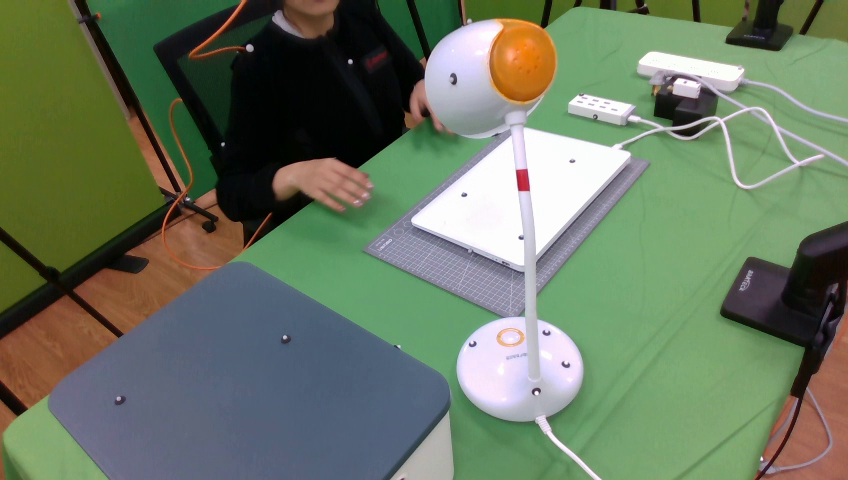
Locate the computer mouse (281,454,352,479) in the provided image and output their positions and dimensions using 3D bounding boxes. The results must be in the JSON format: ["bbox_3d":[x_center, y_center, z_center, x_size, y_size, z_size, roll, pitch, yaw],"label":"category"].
[{"bbox_3d":[-0.110,0.279,0.656,0.116,0.041,0.063,20,51,36],"label":"computer mouse"}]

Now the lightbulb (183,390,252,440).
[{"bbox_3d":[-0.262,0.217,0.753,0.107,0.060,0.059,-10,35,32],"label":"lightbulb"}]

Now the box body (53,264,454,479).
[{"bbox_3d":[-0.173,0.212,0.659,0.361,0.161,0.255,23,50,33],"label":"box body"}]

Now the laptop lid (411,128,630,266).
[{"bbox_3d":[0.172,-0.093,1.049,0.239,0.013,0.358,23,49,36],"label":"laptop lid"}]

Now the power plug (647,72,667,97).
[{"bbox_3d":[0.494,-0.320,1.260,0.073,0.052,0.035,1,19,-41],"label":"power plug"}]

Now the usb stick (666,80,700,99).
[{"bbox_3d":[0.492,-0.288,1.152,0.058,0.027,0.021,20,50,34],"label":"usb stick"}]

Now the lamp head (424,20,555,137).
[{"bbox_3d":[0.069,-0.153,0.572,0.113,0.112,0.122,-21,16,-14],"label":"lamp head"}]

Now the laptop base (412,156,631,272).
[{"bbox_3d":[0.176,-0.084,1.055,0.233,0.023,0.355,21,48,36],"label":"laptop base"}]

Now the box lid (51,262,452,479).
[{"bbox_3d":[-0.182,0.156,0.610,0.368,0.015,0.264,23,49,34],"label":"box lid"}]

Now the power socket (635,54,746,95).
[{"bbox_3d":[0.564,-0.357,1.293,0.225,0.033,0.072,24,51,33],"label":"power socket"}]

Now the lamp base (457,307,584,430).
[{"bbox_3d":[0.115,0.108,0.713,0.161,0.181,0.178,-16,43,-8],"label":"lamp base"}]

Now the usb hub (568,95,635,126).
[{"bbox_3d":[0.360,-0.264,1.228,0.124,0.025,0.049,24,49,34],"label":"usb hub"}]
